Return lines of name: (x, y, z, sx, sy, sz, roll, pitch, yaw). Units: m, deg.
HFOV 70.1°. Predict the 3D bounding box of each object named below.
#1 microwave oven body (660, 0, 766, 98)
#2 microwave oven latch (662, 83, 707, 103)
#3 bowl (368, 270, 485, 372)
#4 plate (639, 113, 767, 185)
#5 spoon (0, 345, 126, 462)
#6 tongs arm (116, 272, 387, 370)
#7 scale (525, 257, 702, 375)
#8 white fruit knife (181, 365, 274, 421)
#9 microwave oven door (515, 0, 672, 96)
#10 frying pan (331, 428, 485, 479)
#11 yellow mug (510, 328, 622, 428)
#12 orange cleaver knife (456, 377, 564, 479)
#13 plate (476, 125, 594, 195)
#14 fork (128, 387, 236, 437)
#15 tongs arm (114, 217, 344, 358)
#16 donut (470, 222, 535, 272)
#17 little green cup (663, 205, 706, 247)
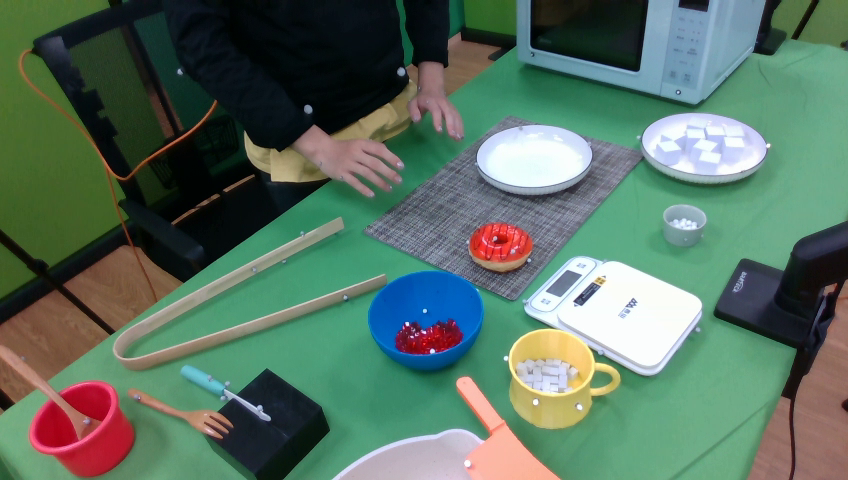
microwave oven body: (0.472, -0.513, 1.317, 0.438, 0.261, 0.327, 26, 51, 34)
microwave oven latch: (0.517, -0.296, 1.204, 0.078, 0.029, 0.030, 27, 52, 35)
bowl: (0.007, 0.118, 0.791, 0.151, 0.077, 0.150, -4, 40, 4)
plate: (0.489, -0.157, 1.074, 0.207, 0.039, 0.206, -4, 40, 4)
spoon: (-0.434, 0.192, 0.720, 0.194, 0.021, 0.042, 47, 53, -7)
tongs arm: (-0.237, 0.114, 0.869, 0.389, 0.028, 0.028, -18, 48, -12)
scale: (0.254, 0.091, 0.821, 0.199, 0.032, 0.149, 28, 51, 35)
white fruit knife: (-0.246, 0.187, 0.747, 0.205, 0.027, 0.016, 9, 41, 40)
microwave oven door: (0.343, -0.454, 1.259, 0.353, 0.245, 0.039, 26, 51, 33)
frying pan: (-0.089, 0.306, 0.564, 0.487, 0.103, 0.306, 10, 41, 7)
yellow mug: (0.169, 0.164, 0.722, 0.130, 0.064, 0.099, 0, 40, 8)
orange cleaver knife: (0.081, 0.220, 0.611, 0.077, 0.012, 0.209, -26, 43, -22)
plate: (0.199, -0.141, 1.093, 0.209, 0.038, 0.208, -4, 40, 4)
fork: (-0.305, 0.207, 0.744, 0.206, 0.019, 0.028, 3, 41, 36)
tongs arm: (-0.280, 0.067, 0.927, 0.386, 0.026, 0.050, -29, 48, -23)
donut: (0.119, 0.009, 0.923, 0.099, 0.048, 0.098, -4, 38, 3)
little green cup: (0.396, -0.021, 0.926, 0.061, 0.039, 0.061, -4, 40, 4)
